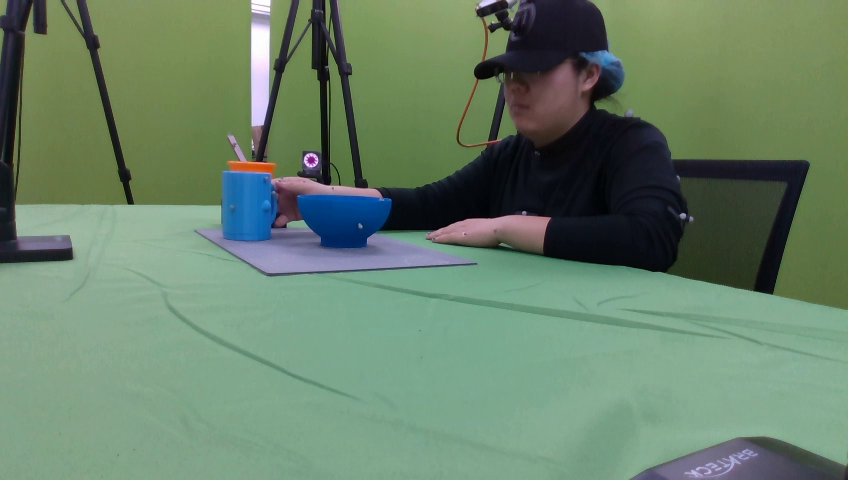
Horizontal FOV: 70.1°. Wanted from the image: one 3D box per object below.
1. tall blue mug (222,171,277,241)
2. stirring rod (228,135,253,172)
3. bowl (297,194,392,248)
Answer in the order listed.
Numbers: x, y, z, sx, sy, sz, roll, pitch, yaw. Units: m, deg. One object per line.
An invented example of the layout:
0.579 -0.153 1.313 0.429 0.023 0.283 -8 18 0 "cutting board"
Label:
-0.290 -0.059 1.003 0.078 0.108 0.107 1 8 -6 "tall blue mug"
-0.353 -0.148 1.197 0.014 0.006 0.175 -5 53 -45 "stirring rod"
-0.127 -0.030 0.964 0.151 0.077 0.151 2 7 0 "bowl"
